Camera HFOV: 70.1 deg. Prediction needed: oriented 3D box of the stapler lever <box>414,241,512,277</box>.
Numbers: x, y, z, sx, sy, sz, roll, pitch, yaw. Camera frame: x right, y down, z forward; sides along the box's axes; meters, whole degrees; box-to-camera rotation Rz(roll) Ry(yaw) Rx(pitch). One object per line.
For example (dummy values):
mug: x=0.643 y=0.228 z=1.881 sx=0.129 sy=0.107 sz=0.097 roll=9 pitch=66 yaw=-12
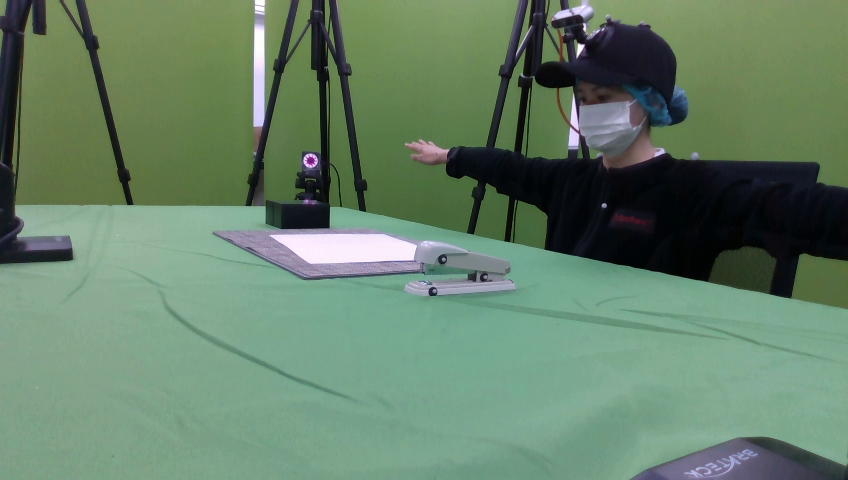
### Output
stapler lever: x=0.044 y=0.021 z=0.667 sx=0.119 sy=0.040 sz=0.026 roll=0 pitch=9 yaw=-29

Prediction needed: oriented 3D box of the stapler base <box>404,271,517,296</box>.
stapler base: x=0.041 y=0.045 z=0.669 sx=0.131 sy=0.024 sz=0.041 roll=1 pitch=9 yaw=-29
